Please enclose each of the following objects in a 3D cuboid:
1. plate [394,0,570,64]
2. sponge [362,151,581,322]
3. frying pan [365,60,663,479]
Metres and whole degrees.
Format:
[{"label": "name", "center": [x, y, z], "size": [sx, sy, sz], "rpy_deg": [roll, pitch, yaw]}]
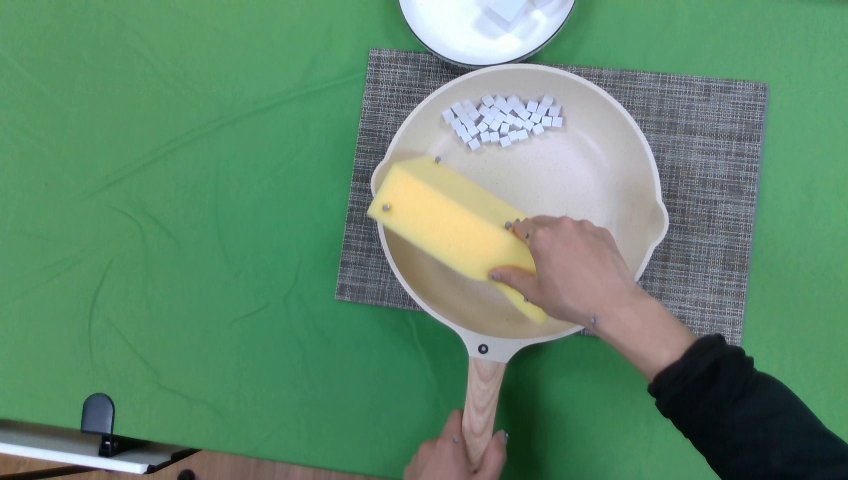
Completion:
[{"label": "plate", "center": [0.067, -0.300, 0.694], "size": [0.207, 0.039, 0.207], "rpy_deg": [0, 86, 7]}, {"label": "sponge", "center": [0.055, -0.012, 0.623], "size": [0.206, 0.118, 0.061], "rpy_deg": [32, 109, 7]}, {"label": "frying pan", "center": [0.071, 0.059, 0.633], "size": [0.306, 0.103, 0.486], "rpy_deg": [10, 79, 8]}]
